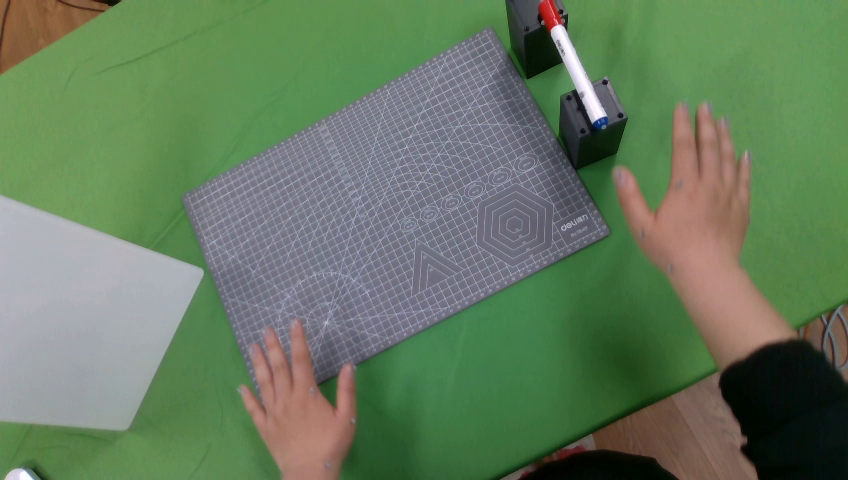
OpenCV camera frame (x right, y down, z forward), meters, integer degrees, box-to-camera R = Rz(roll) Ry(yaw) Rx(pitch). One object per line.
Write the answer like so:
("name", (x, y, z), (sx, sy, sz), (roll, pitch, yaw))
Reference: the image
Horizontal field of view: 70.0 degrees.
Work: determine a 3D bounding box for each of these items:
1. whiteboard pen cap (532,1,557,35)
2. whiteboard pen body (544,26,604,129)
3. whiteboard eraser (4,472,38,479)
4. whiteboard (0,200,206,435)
("whiteboard pen cap", (0.125, -0.229, 0.625), (0.017, 0.017, 0.032), (-21, 76, 7))
("whiteboard pen body", (0.146, -0.173, 0.611), (0.017, 0.017, 0.139), (-23, 74, 6))
("whiteboard eraser", (-0.473, 0.321, 0.733), (0.101, 0.019, 0.041), (34, 86, 15))
("whiteboard", (-0.443, 0.072, 0.664), (0.142, 0.308, 0.217), (20, 83, 35))
